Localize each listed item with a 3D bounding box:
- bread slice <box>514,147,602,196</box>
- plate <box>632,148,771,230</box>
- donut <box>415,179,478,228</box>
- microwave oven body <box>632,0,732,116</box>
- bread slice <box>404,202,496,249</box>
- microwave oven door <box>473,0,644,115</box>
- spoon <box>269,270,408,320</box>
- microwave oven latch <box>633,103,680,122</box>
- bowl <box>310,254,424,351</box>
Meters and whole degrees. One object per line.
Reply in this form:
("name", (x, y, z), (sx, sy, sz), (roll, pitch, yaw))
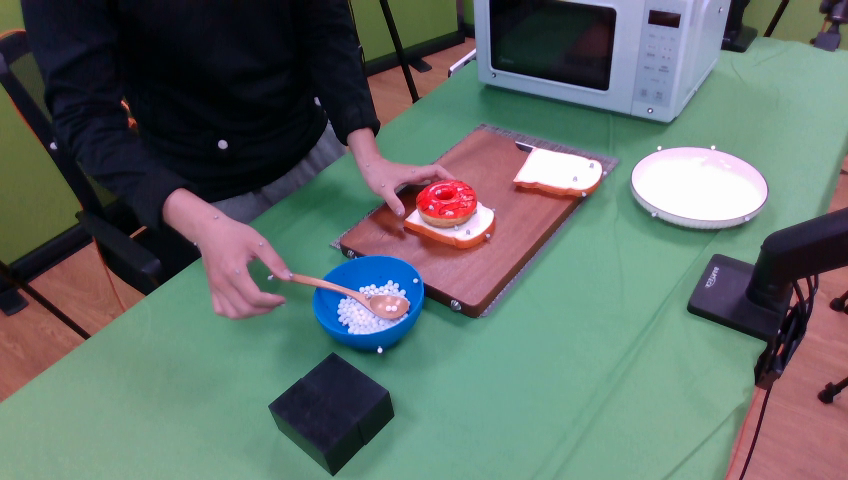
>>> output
("bread slice", (0.233, -0.115, 1.026), (0.133, 0.018, 0.107), (13, 45, 20))
("plate", (0.447, -0.081, 0.988), (0.207, 0.039, 0.206), (-4, 40, 4))
("donut", (0.036, -0.058, 0.944), (0.099, 0.048, 0.098), (-5, 39, 4))
("microwave oven body", (0.377, -0.462, 1.267), (0.438, 0.261, 0.327), (21, 49, 30))
("bread slice", (0.048, -0.034, 0.961), (0.130, 0.019, 0.105), (22, 50, 32))
("microwave oven door", (0.257, -0.396, 1.199), (0.353, 0.245, 0.039), (21, 48, 29))
("spoon", (-0.115, 0.068, 0.813), (0.194, 0.021, 0.041), (19, 49, 0))
("microwave oven latch", (0.444, -0.249, 1.157), (0.078, 0.029, 0.030), (21, 49, 30))
("bowl", (-0.071, 0.098, 0.821), (0.151, 0.077, 0.150), (-4, 40, 4))
